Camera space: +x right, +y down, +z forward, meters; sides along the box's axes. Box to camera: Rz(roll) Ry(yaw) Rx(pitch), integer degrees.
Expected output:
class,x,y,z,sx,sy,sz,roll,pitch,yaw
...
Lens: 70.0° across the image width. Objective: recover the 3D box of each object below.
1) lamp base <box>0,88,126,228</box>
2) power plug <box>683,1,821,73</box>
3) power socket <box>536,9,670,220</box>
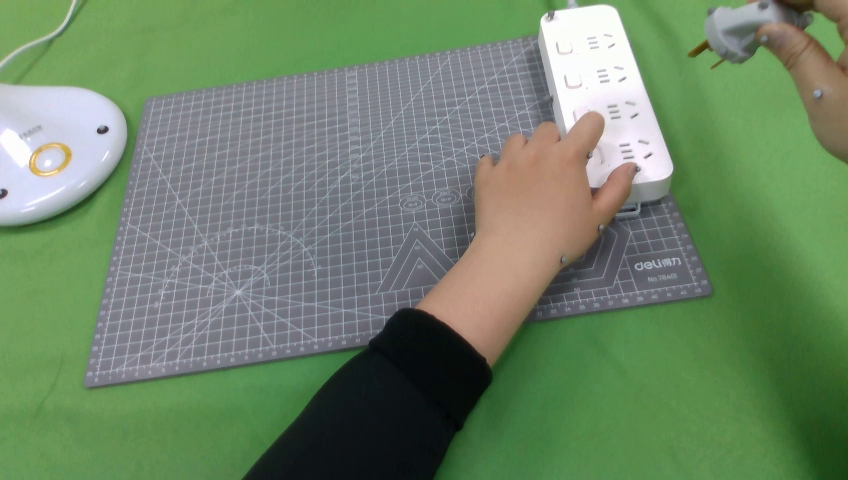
class,x,y,z,sx,sy,sz,roll,pitch,yaw
lamp base,-0.375,-0.125,0.500,0.178,0.182,0.160,25,63,25
power plug,0.200,-0.117,0.372,0.073,0.052,0.035,17,66,-20
power socket,0.144,-0.117,0.510,0.072,0.033,0.224,-6,56,3
